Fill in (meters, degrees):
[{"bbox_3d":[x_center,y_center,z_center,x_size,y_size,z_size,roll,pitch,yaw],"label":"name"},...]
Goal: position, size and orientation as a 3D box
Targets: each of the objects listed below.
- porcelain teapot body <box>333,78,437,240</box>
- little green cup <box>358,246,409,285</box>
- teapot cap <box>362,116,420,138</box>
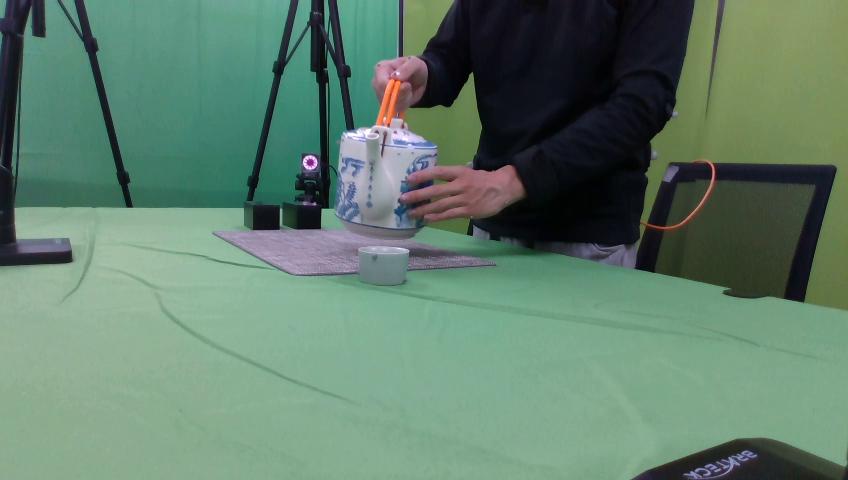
[{"bbox_3d":[-0.057,-0.115,0.868,0.145,0.225,0.205,8,15,3],"label":"porcelain teapot body"},{"bbox_3d":[-0.048,0.030,0.707,0.061,0.038,0.061,2,8,0],"label":"little green cup"},{"bbox_3d":[-0.049,-0.159,0.884,0.085,0.044,0.085,2,13,0],"label":"teapot cap"}]
